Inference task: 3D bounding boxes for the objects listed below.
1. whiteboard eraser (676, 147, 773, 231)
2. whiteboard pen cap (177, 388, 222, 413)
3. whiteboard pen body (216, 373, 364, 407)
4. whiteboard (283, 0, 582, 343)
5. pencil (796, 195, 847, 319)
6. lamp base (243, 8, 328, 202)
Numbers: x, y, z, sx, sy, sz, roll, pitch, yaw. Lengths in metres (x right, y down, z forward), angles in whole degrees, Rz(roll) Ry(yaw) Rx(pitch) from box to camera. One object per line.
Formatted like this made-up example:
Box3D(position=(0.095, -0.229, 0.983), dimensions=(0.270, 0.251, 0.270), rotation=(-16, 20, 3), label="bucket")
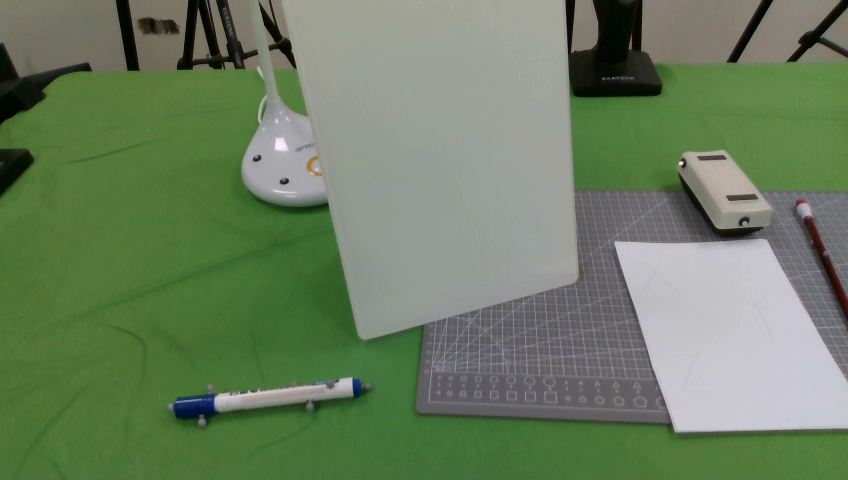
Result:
Box3D(position=(0.313, -0.054, 0.640), dimensions=(0.055, 0.042, 0.111), rotation=(-6, 42, 0), label="whiteboard eraser")
Box3D(position=(-0.180, 0.129, 0.490), dimensions=(0.033, 0.018, 0.018), rotation=(-7, 42, -2), label="whiteboard pen cap")
Box3D(position=(-0.120, 0.124, 0.494), dimensions=(0.141, 0.017, 0.017), rotation=(-6, 42, -2), label="whiteboard pen body")
Box3D(position=(0.008, -0.096, 0.557), dimensions=(0.217, 0.307, 0.142), rotation=(-14, 23, -10), label="whiteboard")
Box3D(position=(0.385, 0.021, 0.576), dimensions=(0.012, 0.012, 0.192), rotation=(4, 44, 9), label="pencil")
Box3D(position=(-0.151, -0.161, 0.691), dimensions=(0.160, 0.182, 0.177), rotation=(-34, 47, -30), label="lamp base")
